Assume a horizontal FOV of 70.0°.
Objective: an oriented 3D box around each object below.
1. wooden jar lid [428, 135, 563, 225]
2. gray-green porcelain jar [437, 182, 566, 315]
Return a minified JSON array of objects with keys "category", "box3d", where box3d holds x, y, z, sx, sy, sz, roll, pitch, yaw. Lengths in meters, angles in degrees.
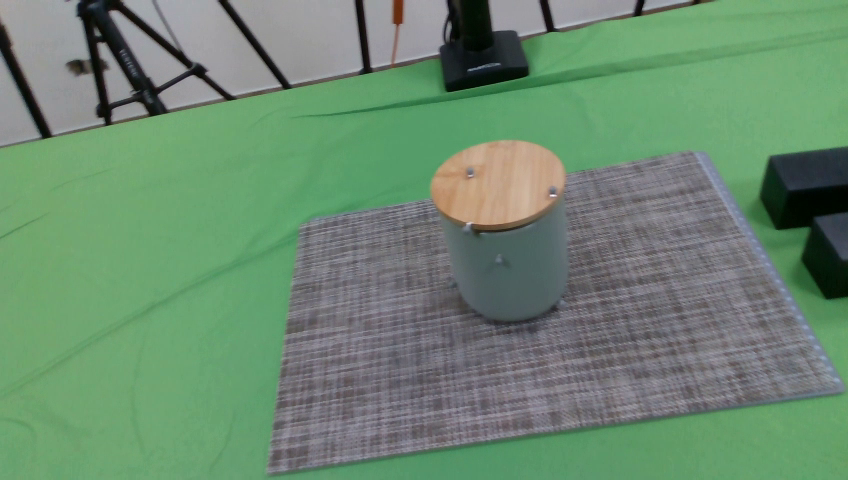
[{"category":"wooden jar lid","box3d":[0.058,-0.047,0.489,0.108,0.021,0.107,-7,44,7]},{"category":"gray-green porcelain jar","box3d":[0.071,-0.004,0.535,0.106,0.128,0.105,-8,45,8]}]
